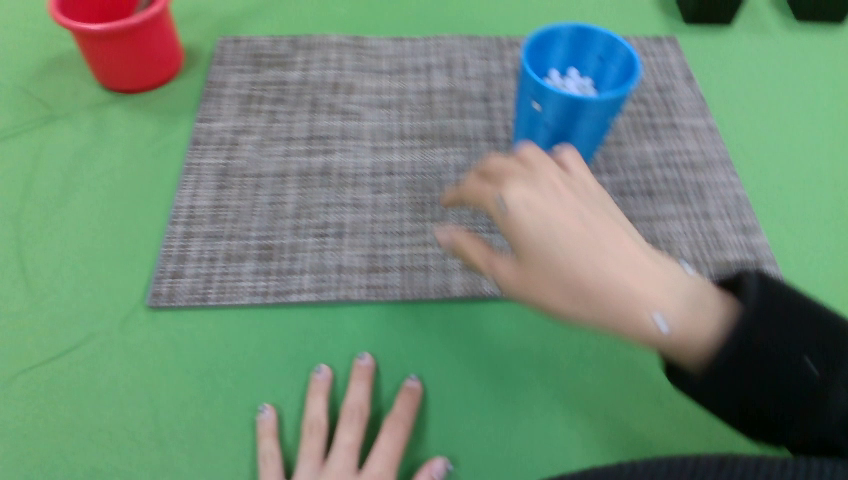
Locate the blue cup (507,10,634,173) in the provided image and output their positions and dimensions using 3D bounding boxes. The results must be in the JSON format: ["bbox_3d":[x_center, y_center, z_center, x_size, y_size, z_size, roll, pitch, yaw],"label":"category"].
[{"bbox_3d":[0.102,-0.106,0.463,0.093,0.101,0.092,2,55,-2],"label":"blue cup"}]

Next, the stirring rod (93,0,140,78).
[{"bbox_3d":[-0.240,-0.216,0.513,0.014,0.006,0.176,41,104,28],"label":"stirring rod"}]
